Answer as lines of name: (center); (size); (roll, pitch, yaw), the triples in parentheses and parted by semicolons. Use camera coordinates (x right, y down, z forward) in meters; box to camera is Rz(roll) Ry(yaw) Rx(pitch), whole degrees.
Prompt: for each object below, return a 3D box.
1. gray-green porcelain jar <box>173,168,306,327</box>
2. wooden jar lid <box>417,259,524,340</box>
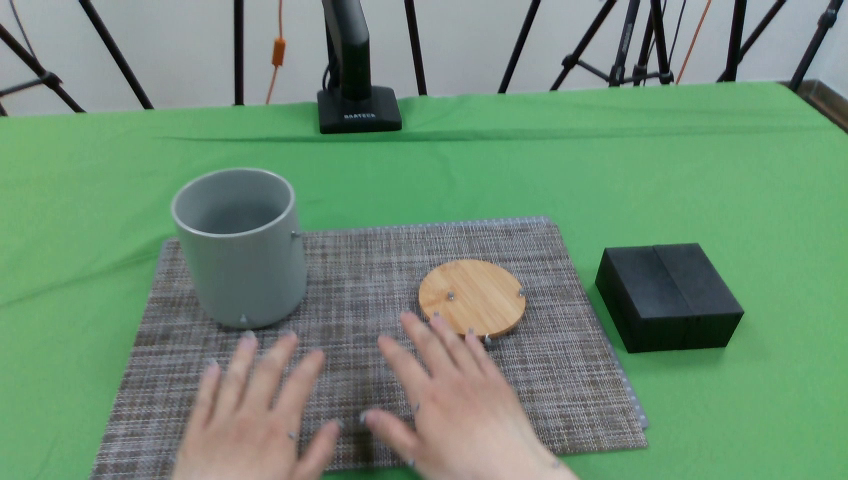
gray-green porcelain jar: (-0.169, 0.012, 0.579); (0.106, 0.127, 0.105); (1, 40, -1)
wooden jar lid: (0.047, 0.061, 0.615); (0.108, 0.021, 0.107); (3, 40, -2)
